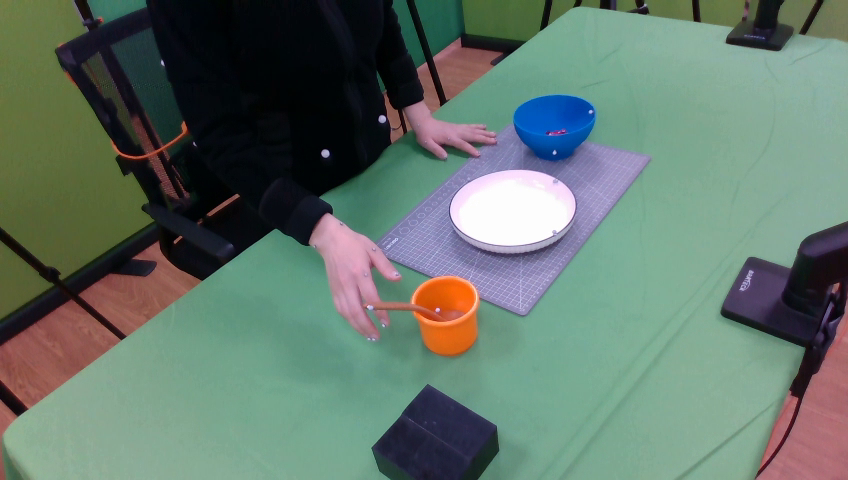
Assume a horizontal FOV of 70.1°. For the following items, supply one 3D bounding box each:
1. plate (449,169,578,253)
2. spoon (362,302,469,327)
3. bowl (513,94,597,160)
[{"bbox_3d":[0.146,-0.044,0.994,0.209,0.038,0.208,-5,40,5],"label":"plate"},{"bbox_3d":[-0.008,0.092,0.779,0.041,0.195,0.021,32,99,42],"label":"spoon"},{"bbox_3d":[0.244,-0.202,1.130,0.151,0.077,0.150,-6,40,5],"label":"bowl"}]
